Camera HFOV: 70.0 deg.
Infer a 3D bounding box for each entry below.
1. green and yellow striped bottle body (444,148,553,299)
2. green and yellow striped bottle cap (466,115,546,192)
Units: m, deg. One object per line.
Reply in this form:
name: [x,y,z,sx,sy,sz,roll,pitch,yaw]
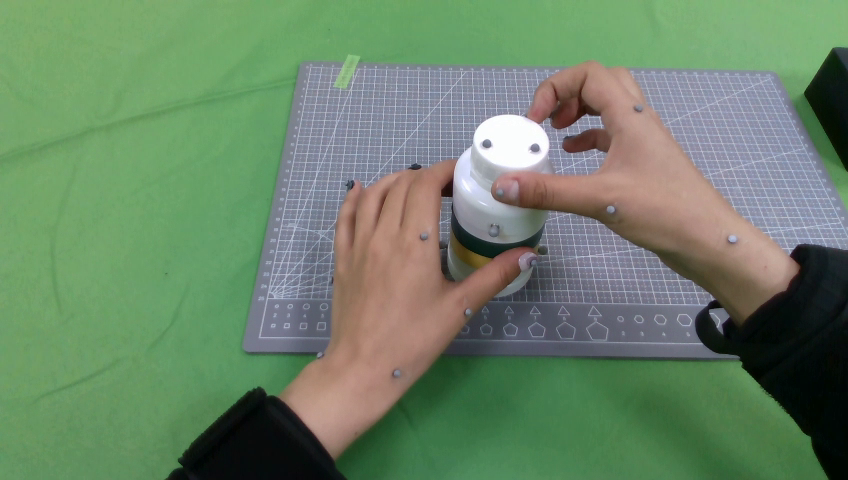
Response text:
green and yellow striped bottle body: [0.046,-0.017,0.392,0.063,0.120,0.062,1,54,0]
green and yellow striped bottle cap: [0.047,-0.051,0.348,0.045,0.020,0.045,1,56,-1]
